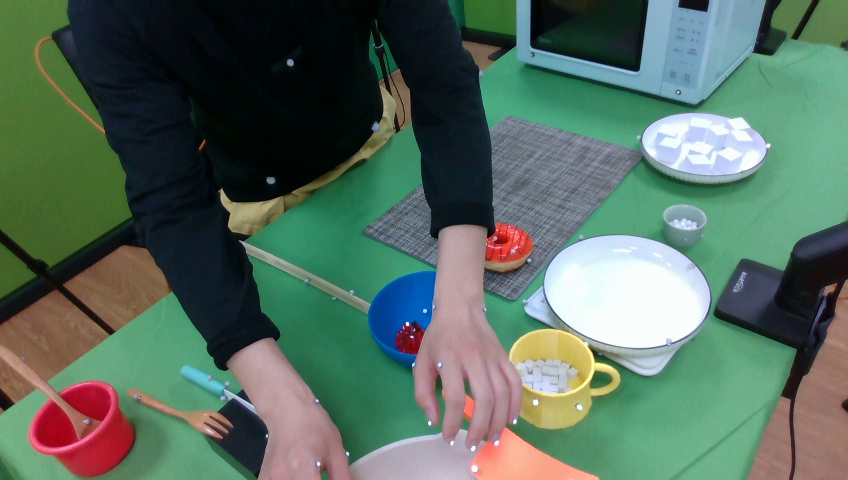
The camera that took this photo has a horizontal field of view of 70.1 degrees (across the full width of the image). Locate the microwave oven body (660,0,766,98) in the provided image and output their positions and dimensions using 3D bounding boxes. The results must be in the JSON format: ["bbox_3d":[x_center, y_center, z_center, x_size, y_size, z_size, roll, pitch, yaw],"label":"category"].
[{"bbox_3d":[0.472,-0.513,1.317,0.438,0.261,0.327,26,51,34],"label":"microwave oven body"}]

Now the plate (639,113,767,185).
[{"bbox_3d":[0.489,-0.157,1.073,0.207,0.039,0.206,-4,40,4],"label":"plate"}]

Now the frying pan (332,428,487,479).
[{"bbox_3d":[-0.089,0.306,0.564,0.487,0.103,0.306,10,41,7],"label":"frying pan"}]

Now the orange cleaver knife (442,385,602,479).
[{"bbox_3d":[0.086,0.219,0.612,0.209,0.012,0.077,28,49,35],"label":"orange cleaver knife"}]

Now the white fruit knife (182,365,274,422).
[{"bbox_3d":[-0.245,0.188,0.747,0.205,0.027,0.016,9,40,41],"label":"white fruit knife"}]

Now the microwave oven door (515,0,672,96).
[{"bbox_3d":[0.343,-0.454,1.259,0.353,0.245,0.039,26,51,33],"label":"microwave oven door"}]

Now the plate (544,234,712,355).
[{"bbox_3d":[0.262,0.072,0.792,0.209,0.038,0.208,-4,41,4],"label":"plate"}]

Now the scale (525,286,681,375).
[{"bbox_3d":[0.254,0.091,0.821,0.199,0.032,0.149,27,51,35],"label":"scale"}]

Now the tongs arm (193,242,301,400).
[{"bbox_3d":[-0.268,0.105,0.881,0.028,0.028,0.384,-33,45,-20],"label":"tongs arm"}]

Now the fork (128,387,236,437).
[{"bbox_3d":[-0.305,0.207,0.744,0.206,0.019,0.028,3,41,36],"label":"fork"}]

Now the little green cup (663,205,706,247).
[{"bbox_3d":[0.396,-0.020,0.926,0.061,0.039,0.061,-4,40,4],"label":"little green cup"}]

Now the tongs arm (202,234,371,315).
[{"bbox_3d":[-0.208,0.061,0.924,0.381,0.026,0.051,23,51,33],"label":"tongs arm"}]

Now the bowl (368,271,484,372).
[{"bbox_3d":[0.007,0.119,0.791,0.151,0.077,0.150,-5,40,5],"label":"bowl"}]

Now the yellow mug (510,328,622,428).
[{"bbox_3d":[0.168,0.164,0.721,0.130,0.064,0.099,1,40,8],"label":"yellow mug"}]

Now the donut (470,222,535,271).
[{"bbox_3d":[0.119,0.009,0.923,0.099,0.048,0.098,-4,38,3],"label":"donut"}]

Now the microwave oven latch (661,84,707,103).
[{"bbox_3d":[0.517,-0.296,1.204,0.078,0.029,0.030,27,52,35],"label":"microwave oven latch"}]

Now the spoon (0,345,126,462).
[{"bbox_3d":[-0.434,0.192,0.720,0.194,0.021,0.042,47,54,-7],"label":"spoon"}]
